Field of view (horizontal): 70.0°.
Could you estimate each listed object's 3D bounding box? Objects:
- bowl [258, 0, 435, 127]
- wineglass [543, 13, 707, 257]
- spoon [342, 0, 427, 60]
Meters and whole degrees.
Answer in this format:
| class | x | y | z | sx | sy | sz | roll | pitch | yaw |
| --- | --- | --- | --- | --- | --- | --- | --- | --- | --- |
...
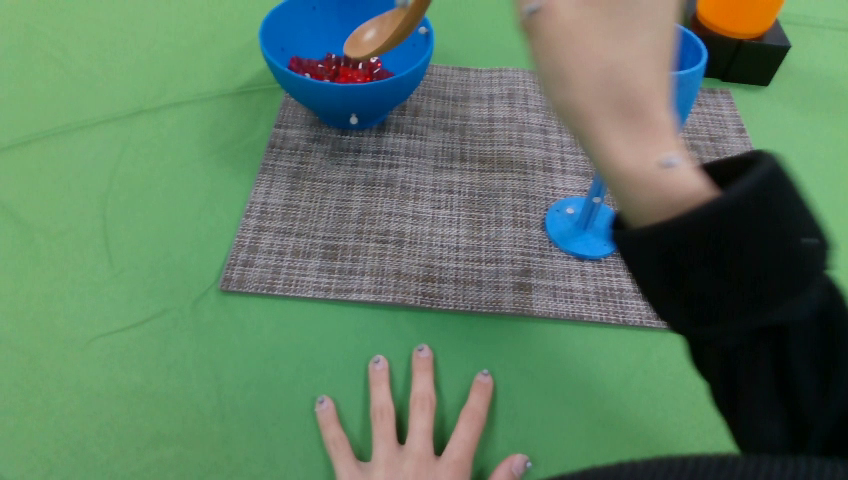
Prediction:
| class | x | y | z | sx | sy | sz | roll | pitch | yaw |
| --- | --- | --- | --- | --- | --- | --- | --- | --- | --- |
| bowl | -0.067 | -0.157 | 0.550 | 0.151 | 0.077 | 0.150 | 2 | 51 | -3 |
| wineglass | 0.134 | -0.066 | 0.431 | 0.074 | 0.173 | 0.073 | 2 | 51 | -2 |
| spoon | 0.014 | -0.133 | 0.296 | 0.022 | 0.193 | 0.041 | 37 | 61 | -23 |
